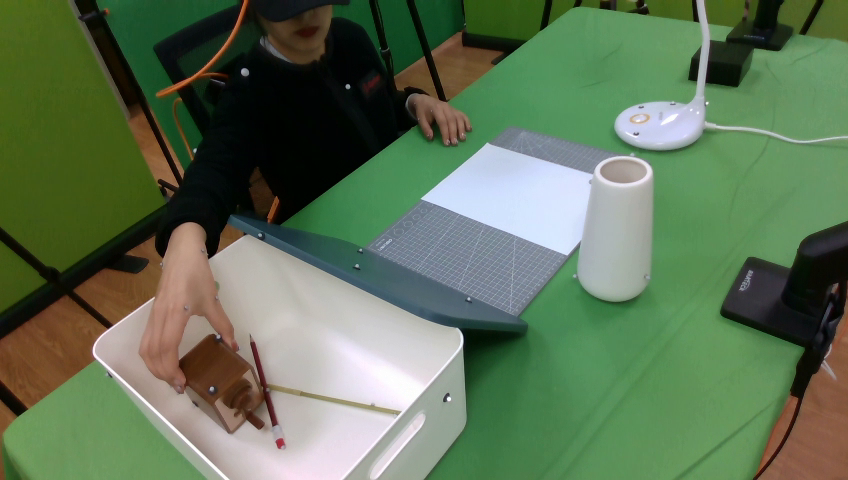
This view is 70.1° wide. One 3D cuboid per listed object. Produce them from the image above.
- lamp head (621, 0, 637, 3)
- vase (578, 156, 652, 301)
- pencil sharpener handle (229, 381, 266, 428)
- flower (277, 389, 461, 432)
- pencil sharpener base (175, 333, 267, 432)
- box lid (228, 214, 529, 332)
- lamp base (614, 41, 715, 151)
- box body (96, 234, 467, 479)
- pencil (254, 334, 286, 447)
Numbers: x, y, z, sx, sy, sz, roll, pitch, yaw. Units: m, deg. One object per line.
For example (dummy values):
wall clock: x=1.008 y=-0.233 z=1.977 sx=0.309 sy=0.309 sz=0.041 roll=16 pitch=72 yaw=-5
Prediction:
lamp head: x=0.319 y=-0.453 z=0.962 sx=0.113 sy=0.123 sz=0.112 roll=20 pitch=33 yaw=-13
vase: x=0.261 y=-0.011 z=0.812 sx=0.098 sy=0.201 sz=0.097 roll=-4 pitch=40 yaw=4
pencil sharpener handle: x=-0.200 y=0.195 z=0.704 sx=0.030 sy=0.068 sz=0.036 roll=34 pitch=54 yaw=19
flower: x=-0.122 y=0.203 z=0.771 sx=0.360 sy=0.038 sz=0.044 roll=2 pitch=77 yaw=22
pencil sharpener base: x=-0.240 y=0.175 z=0.730 sx=0.076 sy=0.107 sz=0.061 roll=34 pitch=58 yaw=19
box lid: x=-0.060 y=0.045 z=0.812 sx=0.368 sy=0.265 sz=0.015 roll=22 pitch=93 yaw=32
lamp base: x=0.449 y=-0.277 z=1.106 sx=0.179 sy=0.181 sz=0.160 roll=1 pitch=41 yaw=9
box body: x=-0.155 y=0.169 z=0.707 sx=0.361 sy=0.161 sz=0.255 roll=23 pitch=49 yaw=33
pencil: x=-0.205 y=0.190 z=0.793 sx=0.012 sy=0.012 sz=0.192 roll=-20 pitch=43 yaw=-12
